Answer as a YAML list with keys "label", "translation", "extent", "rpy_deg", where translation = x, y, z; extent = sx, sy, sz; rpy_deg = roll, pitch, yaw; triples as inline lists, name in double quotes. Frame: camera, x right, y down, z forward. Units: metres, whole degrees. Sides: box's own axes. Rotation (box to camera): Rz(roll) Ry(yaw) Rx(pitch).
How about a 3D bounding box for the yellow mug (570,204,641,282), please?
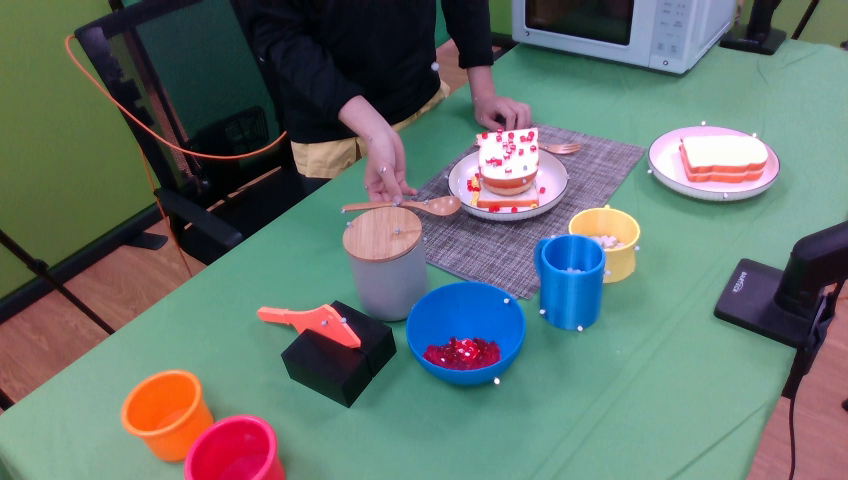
- label: "yellow mug"
  translation: [0.268, -0.005, 0.904]
  extent: [0.099, 0.064, 0.130]
  rpy_deg: [7, 41, 15]

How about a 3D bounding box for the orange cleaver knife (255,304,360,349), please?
- label: "orange cleaver knife"
  translation: [-0.161, 0.115, 0.813]
  extent: [0.210, 0.077, 0.012]
  rpy_deg: [-4, 32, 47]

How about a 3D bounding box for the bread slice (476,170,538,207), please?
- label: "bread slice"
  translation: [0.144, -0.104, 1.058]
  extent: [0.105, 0.019, 0.131]
  rpy_deg: [0, 43, 6]

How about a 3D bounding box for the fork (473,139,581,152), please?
- label: "fork"
  translation: [0.194, -0.184, 1.153]
  extent: [0.206, 0.019, 0.028]
  rpy_deg: [7, 49, 14]

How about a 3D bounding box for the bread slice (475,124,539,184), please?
- label: "bread slice"
  translation: [0.143, -0.143, 1.009]
  extent: [0.107, 0.018, 0.133]
  rpy_deg: [-7, 46, 7]

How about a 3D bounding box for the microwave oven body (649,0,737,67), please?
- label: "microwave oven body"
  translation: [0.475, -0.602, 1.411]
  extent: [0.438, 0.261, 0.327]
  rpy_deg: [23, 50, 32]

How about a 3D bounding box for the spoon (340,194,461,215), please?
- label: "spoon"
  translation: [-0.038, -0.058, 0.968]
  extent: [0.194, 0.022, 0.041]
  rpy_deg: [1, 59, -6]

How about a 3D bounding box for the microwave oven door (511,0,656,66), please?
- label: "microwave oven door"
  translation: [0.351, -0.539, 1.349]
  extent: [0.353, 0.245, 0.039]
  rpy_deg: [24, 50, 31]

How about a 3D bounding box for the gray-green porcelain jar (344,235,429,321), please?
- label: "gray-green porcelain jar"
  translation: [-0.049, 0.042, 0.849]
  extent: [0.106, 0.127, 0.105]
  rpy_deg: [-4, 41, 4]

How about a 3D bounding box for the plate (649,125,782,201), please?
- label: "plate"
  translation: [0.493, -0.128, 1.036]
  extent: [0.207, 0.039, 0.206]
  rpy_deg: [-4, 41, 4]

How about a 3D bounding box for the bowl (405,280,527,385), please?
- label: "bowl"
  translation: [0.055, 0.131, 0.767]
  extent: [0.151, 0.077, 0.150]
  rpy_deg: [-4, 40, 4]

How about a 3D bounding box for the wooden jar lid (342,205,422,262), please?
- label: "wooden jar lid"
  translation: [-0.055, -0.006, 0.808]
  extent: [0.108, 0.021, 0.108]
  rpy_deg: [-6, 41, 6]

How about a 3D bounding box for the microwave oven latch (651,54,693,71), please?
- label: "microwave oven latch"
  translation: [0.532, -0.386, 1.301]
  extent: [0.078, 0.029, 0.030]
  rpy_deg: [26, 51, 34]

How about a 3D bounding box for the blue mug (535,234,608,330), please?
- label: "blue mug"
  translation: [0.191, 0.048, 0.824]
  extent: [0.082, 0.106, 0.115]
  rpy_deg: [-26, 44, -21]

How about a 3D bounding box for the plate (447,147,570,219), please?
- label: "plate"
  translation: [0.145, -0.098, 1.046]
  extent: [0.209, 0.038, 0.208]
  rpy_deg: [-4, 40, 4]
